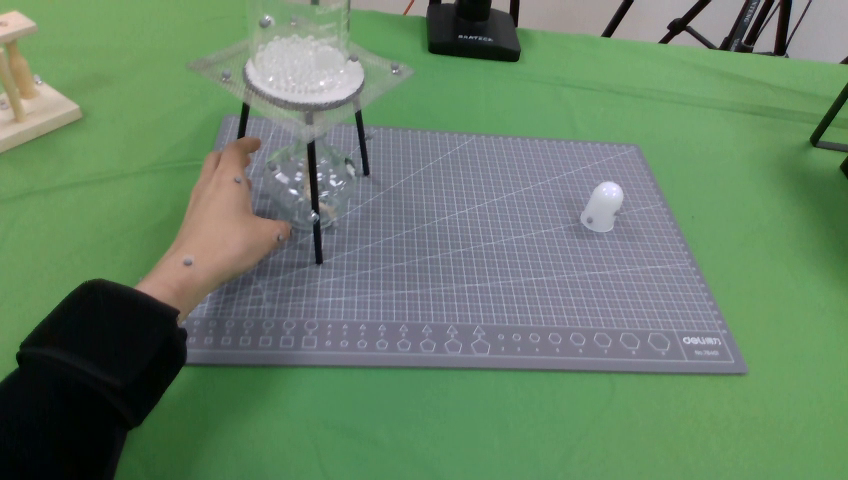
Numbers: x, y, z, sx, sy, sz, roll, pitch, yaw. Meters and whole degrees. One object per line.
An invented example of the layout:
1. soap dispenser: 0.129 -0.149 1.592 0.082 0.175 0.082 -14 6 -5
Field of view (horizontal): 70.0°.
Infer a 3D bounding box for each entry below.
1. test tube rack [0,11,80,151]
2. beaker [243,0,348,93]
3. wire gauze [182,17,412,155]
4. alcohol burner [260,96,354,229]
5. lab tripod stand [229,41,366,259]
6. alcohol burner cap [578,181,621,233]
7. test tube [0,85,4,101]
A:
1. test tube rack: -0.426 -0.102 0.497 0.066 0.086 0.242 32 49 20
2. beaker: -0.089 -0.159 0.416 0.073 0.101 0.084 33 50 20
3. wire gauze: -0.091 -0.124 0.451 0.124 0.011 0.121 34 52 16
4. alcohol burner: -0.095 -0.067 0.500 0.078 0.120 0.077 7 44 -6
5. lab tripod stand: -0.097 -0.079 0.498 0.149 0.132 0.147 7 46 -6
6. alcohol burner cap: 0.166 -0.033 0.567 0.034 0.048 0.033 4 45 -4
7. test tube: -0.395 -0.182 0.512 0.017 0.151 0.017 3 48 -2
